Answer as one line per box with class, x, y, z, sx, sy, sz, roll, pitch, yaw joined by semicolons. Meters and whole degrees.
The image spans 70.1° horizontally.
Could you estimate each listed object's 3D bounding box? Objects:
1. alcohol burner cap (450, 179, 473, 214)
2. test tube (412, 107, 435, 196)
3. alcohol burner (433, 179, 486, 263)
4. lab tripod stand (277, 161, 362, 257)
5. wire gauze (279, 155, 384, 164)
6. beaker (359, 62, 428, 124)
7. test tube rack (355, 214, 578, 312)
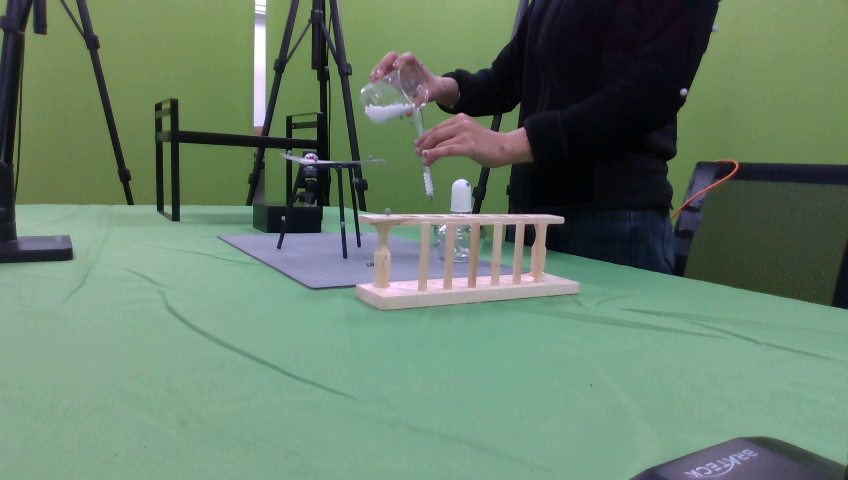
alcohol burner cap;0.053;-0.063;0.859;0.034;0.048;0.034;0;15;0
test tube;-0.001;-0.144;0.981;0.017;0.150;0.017;-9;-9;-1
alcohol burner;0.051;-0.028;0.862;0.078;0.119;0.078;1;6;0
lab tripod stand;-0.142;-0.049;0.884;0.148;0.131;0.148;1;9;0
wire gauze;-0.134;-0.114;0.875;0.122;0.011;0.124;-1;8;-30
beaker;-0.054;-0.243;1.025;0.100;0.084;0.074;-16;-7;38
test tube rack;0.053;0.018;0.640;0.243;0.085;0.066;-1;9;-29
